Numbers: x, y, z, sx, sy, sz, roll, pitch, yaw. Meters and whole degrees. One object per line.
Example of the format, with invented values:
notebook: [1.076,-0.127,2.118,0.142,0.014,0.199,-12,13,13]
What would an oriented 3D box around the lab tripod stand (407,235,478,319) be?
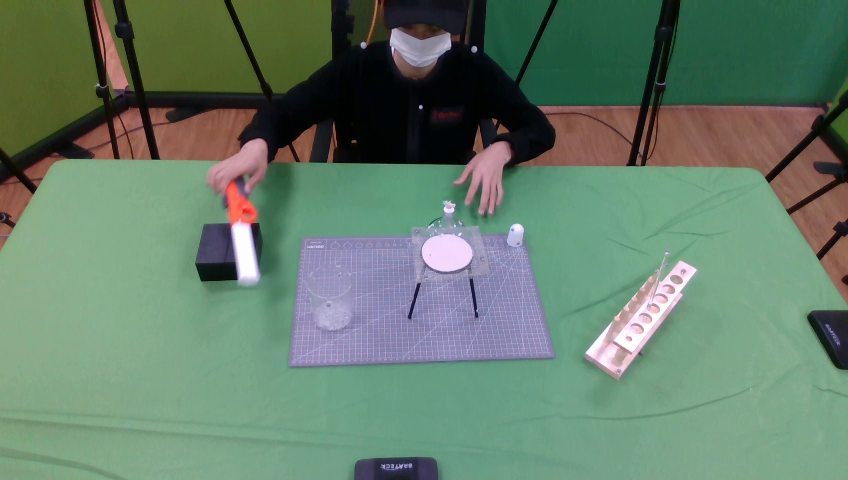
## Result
lab tripod stand: [0.032,0.065,1.057,0.148,0.132,0.147,1,45,-1]

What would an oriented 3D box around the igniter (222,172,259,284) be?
igniter: [-0.328,-0.031,1.085,0.057,0.025,0.274,9,41,-32]

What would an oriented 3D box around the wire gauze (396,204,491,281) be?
wire gauze: [0.032,0.004,0.999,0.125,0.011,0.120,-22,54,-14]

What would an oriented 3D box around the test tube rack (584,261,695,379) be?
test tube rack: [0.380,0.127,1.062,0.066,0.085,0.242,34,53,26]

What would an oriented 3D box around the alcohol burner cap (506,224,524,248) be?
alcohol burner cap: [0.183,-0.010,1.206,0.034,0.048,0.033,1,46,-1]

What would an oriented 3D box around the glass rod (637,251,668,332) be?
glass rod: [0.378,0.090,1.005,0.008,0.201,0.008,-1,44,1]

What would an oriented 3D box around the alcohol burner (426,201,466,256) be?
alcohol burner: [0.043,-0.026,1.160,0.078,0.120,0.077,1,47,-1]

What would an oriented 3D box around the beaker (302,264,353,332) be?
beaker: [-0.162,0.101,1.030,0.084,0.101,0.073,4,46,0]
